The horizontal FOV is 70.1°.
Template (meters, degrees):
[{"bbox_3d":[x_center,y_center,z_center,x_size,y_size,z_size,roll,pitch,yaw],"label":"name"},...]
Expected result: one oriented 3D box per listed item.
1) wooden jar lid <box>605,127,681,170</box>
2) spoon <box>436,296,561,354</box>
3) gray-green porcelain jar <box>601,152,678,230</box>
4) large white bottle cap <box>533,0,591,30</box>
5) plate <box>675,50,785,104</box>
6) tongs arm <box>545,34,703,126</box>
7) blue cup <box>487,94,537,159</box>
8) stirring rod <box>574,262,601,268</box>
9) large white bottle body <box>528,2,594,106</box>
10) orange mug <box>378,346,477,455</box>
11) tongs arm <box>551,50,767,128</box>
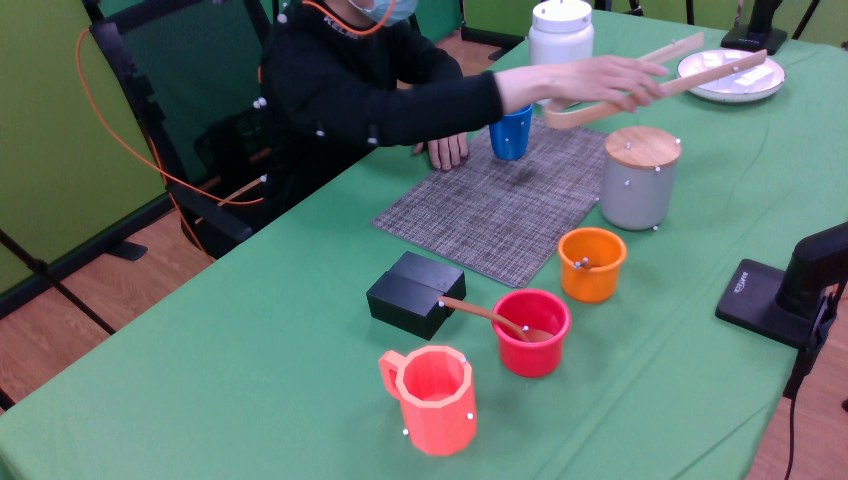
[{"bbox_3d":[0.327,-0.134,0.909,0.108,0.021,0.108,-2,43,2],"label":"wooden jar lid"},{"bbox_3d":[0.096,0.102,0.750,0.195,0.021,0.041,28,31,-28],"label":"spoon"},{"bbox_3d":[0.334,-0.087,0.949,0.106,0.127,0.105,-4,40,4],"label":"gray-green porcelain jar"},{"bbox_3d":[0.275,-0.450,1.204,0.115,0.018,0.114,-4,41,4],"label":"large white bottle cap"},{"bbox_3d":[0.632,-0.336,1.262,0.207,0.039,0.206,-4,40,4],"label":"plate"},{"bbox_3d":[0.349,-0.274,1.013,0.386,0.026,0.050,-25,39,-19],"label":"tongs arm"},{"bbox_3d":[0.160,-0.208,1.129,0.092,0.100,0.092,-3,39,3],"label":"blue cup"},{"bbox_3d":[0.223,0.033,0.816,0.014,0.006,0.177,8,1,22],"label":"stirring rod"},{"bbox_3d":[0.283,-0.386,1.259,0.130,0.185,0.130,-4,41,4],"label":"large white bottle body"},{"bbox_3d":[0.002,0.179,0.708,0.125,0.101,0.083,25,50,27],"label":"orange mug"},{"bbox_3d":[0.381,-0.241,0.959,0.389,0.028,0.028,-19,41,-11],"label":"tongs arm"}]
